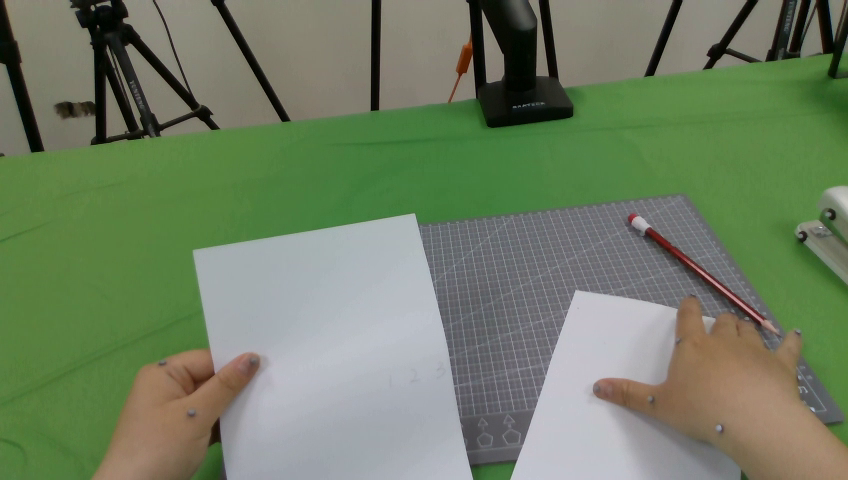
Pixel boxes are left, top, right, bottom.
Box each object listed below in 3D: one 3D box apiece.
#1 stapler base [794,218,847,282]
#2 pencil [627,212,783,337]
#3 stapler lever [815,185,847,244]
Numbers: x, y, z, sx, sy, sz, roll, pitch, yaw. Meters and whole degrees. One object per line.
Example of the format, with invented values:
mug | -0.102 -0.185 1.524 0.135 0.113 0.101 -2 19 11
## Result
stapler base | 0.388 0.014 0.541 0.041 0.025 0.129 -12 39 -1
pencil | 0.250 0.026 0.555 0.012 0.012 0.192 -19 39 -14
stapler lever | 0.386 -0.004 0.524 0.027 0.040 0.117 -12 39 -1
